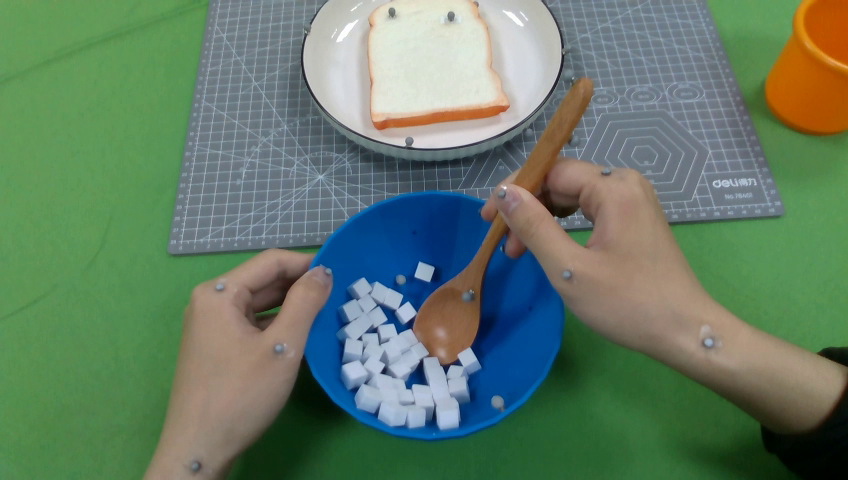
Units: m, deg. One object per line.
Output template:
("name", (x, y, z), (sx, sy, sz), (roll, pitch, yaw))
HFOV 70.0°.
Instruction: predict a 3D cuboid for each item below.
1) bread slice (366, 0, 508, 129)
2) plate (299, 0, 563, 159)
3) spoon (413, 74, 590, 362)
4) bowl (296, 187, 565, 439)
("bread slice", (0.002, -0.151, 0.499), (0.107, 0.018, 0.133), (-10, 64, -2))
("plate", (0.005, -0.148, 0.494), (0.209, 0.038, 0.207), (-1, 63, 2))
("spoon", (0.040, -0.003, 0.339), (0.041, 0.194, 0.022), (40, 36, 21))
("bowl", (0.005, 0.051, 0.371), (0.151, 0.077, 0.150), (-1, 62, 2))
